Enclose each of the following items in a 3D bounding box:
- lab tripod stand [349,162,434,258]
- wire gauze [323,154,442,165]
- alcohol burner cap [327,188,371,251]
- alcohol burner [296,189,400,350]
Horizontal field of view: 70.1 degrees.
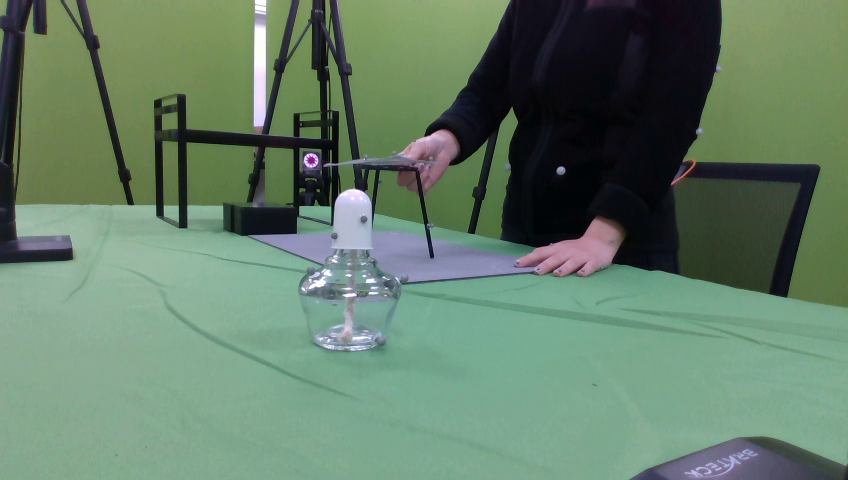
[{"bbox_3d":[-0.056,-0.045,0.863,0.148,0.131,0.148,3,9,0],"label":"lab tripod stand"},{"bbox_3d":[-0.057,-0.113,0.856,0.121,0.011,0.125,2,8,31],"label":"wire gauze"},{"bbox_3d":[-0.055,-0.015,0.448,0.034,0.048,0.034,0,1,0],"label":"alcohol burner cap"},{"bbox_3d":[-0.056,0.021,0.453,0.078,0.119,0.078,3,6,0],"label":"alcohol burner"}]
